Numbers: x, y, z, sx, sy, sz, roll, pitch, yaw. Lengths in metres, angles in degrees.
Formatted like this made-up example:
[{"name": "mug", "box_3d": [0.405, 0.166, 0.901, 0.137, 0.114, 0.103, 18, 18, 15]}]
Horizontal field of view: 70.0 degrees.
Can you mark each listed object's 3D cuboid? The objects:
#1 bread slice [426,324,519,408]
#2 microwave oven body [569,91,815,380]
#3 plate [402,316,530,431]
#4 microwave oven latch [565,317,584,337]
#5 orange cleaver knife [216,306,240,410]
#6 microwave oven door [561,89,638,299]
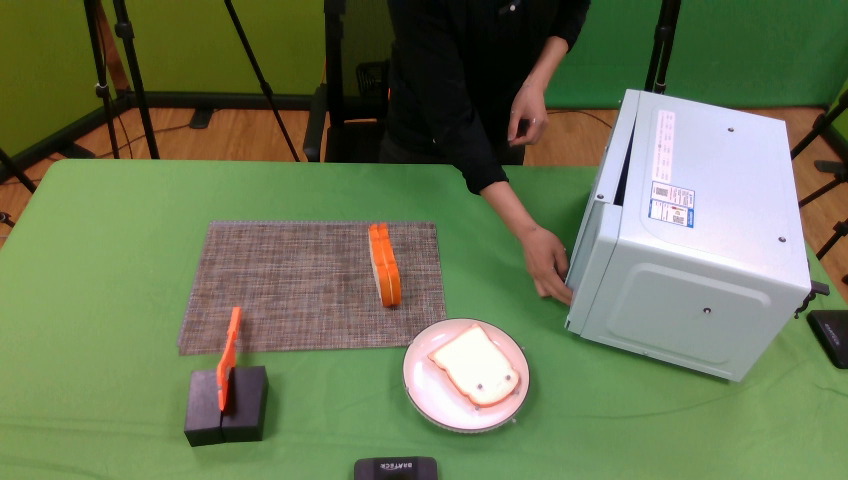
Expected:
[{"name": "bread slice", "box_3d": [0.087, 0.209, 0.989, 0.107, 0.018, 0.133, -32, 57, -26]}, {"name": "microwave oven body", "box_3d": [0.468, -0.022, 1.082, 0.325, 0.261, 0.440, 15, 46, 11]}, {"name": "plate", "box_3d": [0.066, 0.217, 0.982, 0.208, 0.039, 0.206, 2, 46, -2]}, {"name": "microwave oven latch", "box_3d": [0.272, 0.130, 1.055, 0.030, 0.029, 0.079, 27, 49, 22]}, {"name": "orange cleaver knife", "box_3d": [-0.307, 0.180, 0.957, 0.012, 0.077, 0.210, -2, 25, -8]}, {"name": "microwave oven door", "box_3d": [0.334, -0.093, 1.134, 0.039, 0.245, 0.354, 17, 47, 12]}]
